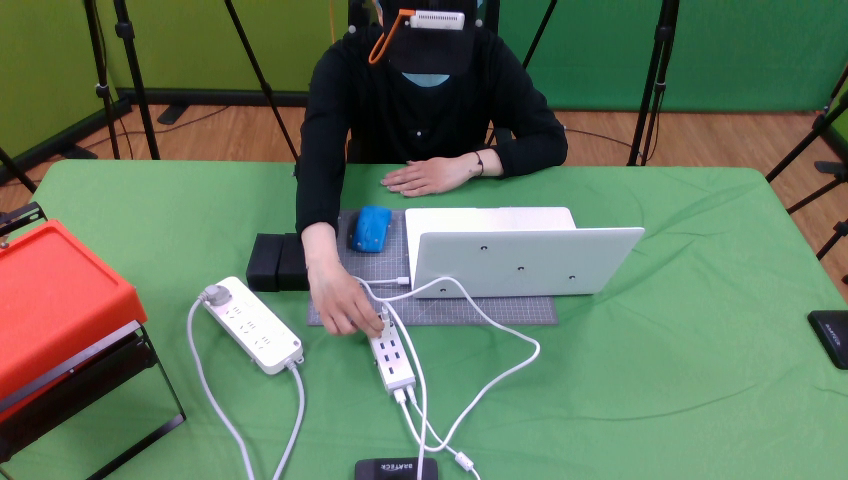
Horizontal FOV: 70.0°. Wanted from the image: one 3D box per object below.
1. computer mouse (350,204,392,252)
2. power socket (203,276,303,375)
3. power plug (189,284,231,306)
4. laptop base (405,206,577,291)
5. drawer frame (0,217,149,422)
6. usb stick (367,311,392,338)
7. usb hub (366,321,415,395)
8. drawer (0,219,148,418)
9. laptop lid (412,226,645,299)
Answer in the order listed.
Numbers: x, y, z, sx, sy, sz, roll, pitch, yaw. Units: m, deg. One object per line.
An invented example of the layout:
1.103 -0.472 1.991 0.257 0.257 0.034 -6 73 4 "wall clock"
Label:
-0.104 -0.027 1.202 0.063 0.041 0.116 11 51 3 "computer mouse"
-0.296 0.142 1.034 0.072 0.033 0.225 -34 58 -30 "power socket"
-0.367 0.100 1.037 0.072 0.053 0.035 -24 53 -27 "power plug"
0.143 0.018 1.196 0.355 0.023 0.234 -1 43 -6 "laptop base"
-0.510 0.093 0.780 0.201 0.083 0.213 31 52 23 "drawer frame"
-0.076 0.144 1.006 0.021 0.059 0.027 48 47 12 "usb stick"
-0.056 0.194 1.007 0.049 0.025 0.124 -12 49 -16 "usb hub"
-0.509 0.093 0.783 0.193 0.073 0.211 32 53 24 "drawer"
0.161 0.043 1.012 0.357 0.242 0.013 0 59 -7 "laptop lid"
